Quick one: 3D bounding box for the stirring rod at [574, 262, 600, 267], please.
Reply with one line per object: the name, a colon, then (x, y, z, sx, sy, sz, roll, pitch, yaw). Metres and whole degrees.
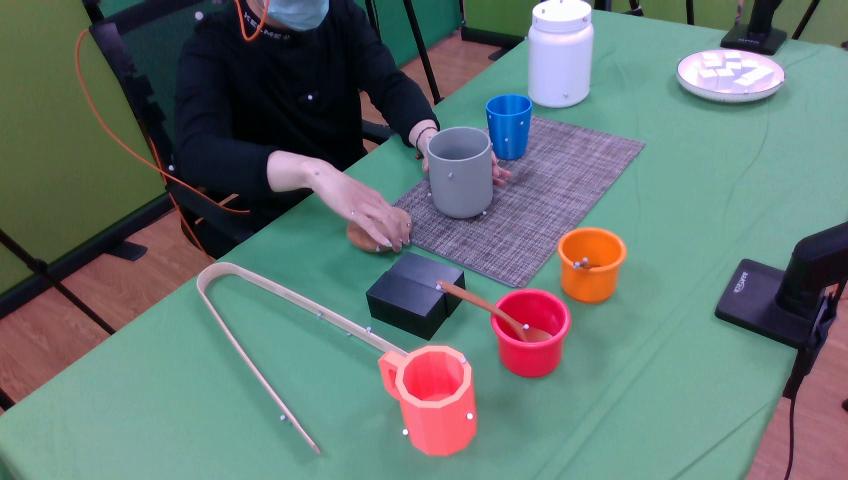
stirring rod: (0.222, 0.033, 0.816, 0.014, 0.006, 0.177, 7, 0, 22)

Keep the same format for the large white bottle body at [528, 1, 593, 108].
large white bottle body: (0.282, -0.386, 1.259, 0.130, 0.185, 0.130, -5, 41, 5)

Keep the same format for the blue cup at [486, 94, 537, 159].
blue cup: (0.160, -0.208, 1.129, 0.092, 0.100, 0.092, -4, 39, 4)

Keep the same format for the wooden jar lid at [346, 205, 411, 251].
wooden jar lid: (-0.073, -0.019, 0.990, 0.108, 0.021, 0.108, -3, 40, 3)

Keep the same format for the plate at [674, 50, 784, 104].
plate: (0.631, -0.336, 1.262, 0.207, 0.039, 0.206, -4, 41, 4)

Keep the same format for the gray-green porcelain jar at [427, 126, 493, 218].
gray-green porcelain jar: (0.063, -0.109, 1.008, 0.106, 0.127, 0.105, -4, 40, 4)

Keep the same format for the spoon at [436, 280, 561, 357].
spoon: (0.096, 0.095, 0.757, 0.195, 0.021, 0.041, 34, 41, -20)

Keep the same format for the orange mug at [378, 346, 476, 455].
orange mug: (0.002, 0.179, 0.708, 0.125, 0.101, 0.083, 25, 50, 26)

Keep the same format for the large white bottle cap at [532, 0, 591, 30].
large white bottle cap: (0.274, -0.449, 1.204, 0.115, 0.018, 0.114, -4, 41, 4)

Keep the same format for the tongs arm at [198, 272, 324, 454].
tongs arm: (-0.236, 0.155, 0.831, 0.028, 0.028, 0.384, -37, 48, -17)

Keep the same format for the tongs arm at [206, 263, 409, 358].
tongs arm: (-0.179, 0.106, 0.870, 0.382, 0.027, 0.051, 23, 55, 32)
